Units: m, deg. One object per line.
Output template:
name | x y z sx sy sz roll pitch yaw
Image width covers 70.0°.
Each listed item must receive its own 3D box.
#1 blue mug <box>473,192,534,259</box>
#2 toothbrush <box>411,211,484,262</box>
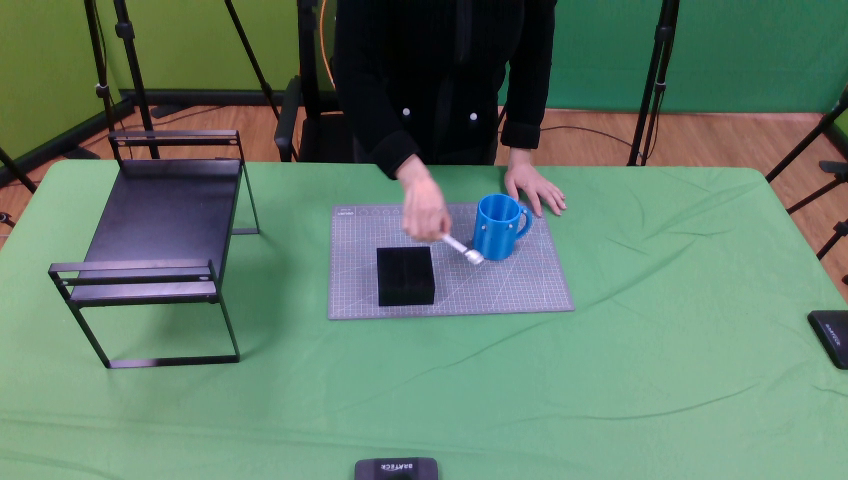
blue mug | 0.157 -0.029 1.173 0.117 0.106 0.082 -8 48 -11
toothbrush | 0.037 -0.010 1.066 0.181 0.017 0.014 35 86 37
